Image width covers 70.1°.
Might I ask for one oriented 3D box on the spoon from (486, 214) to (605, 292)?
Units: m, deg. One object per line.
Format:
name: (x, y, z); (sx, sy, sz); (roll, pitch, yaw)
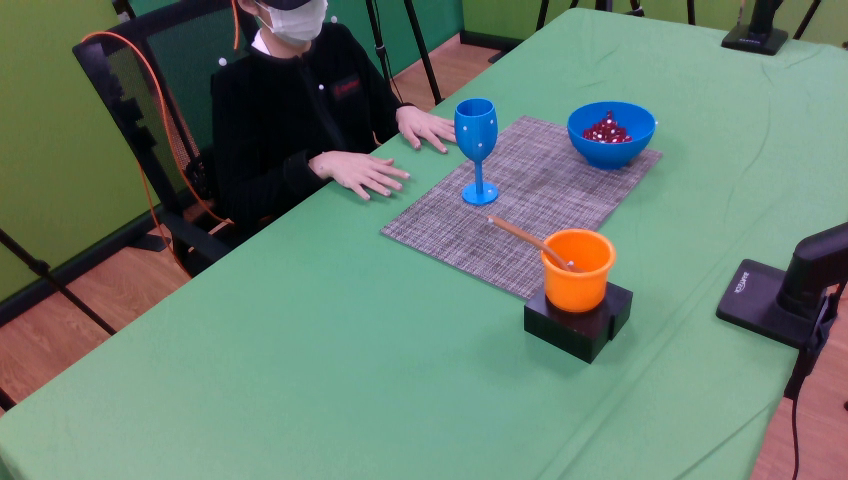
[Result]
spoon: (0.155, 0.015, 0.758); (0.021, 0.195, 0.041); (-44, 25, 27)

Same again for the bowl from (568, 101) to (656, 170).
bowl: (0.332, -0.179, 1.084); (0.151, 0.077, 0.150); (-4, 40, 4)

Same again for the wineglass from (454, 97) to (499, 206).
wineglass: (0.090, -0.145, 1.009); (0.074, 0.173, 0.073); (-5, 40, 4)
